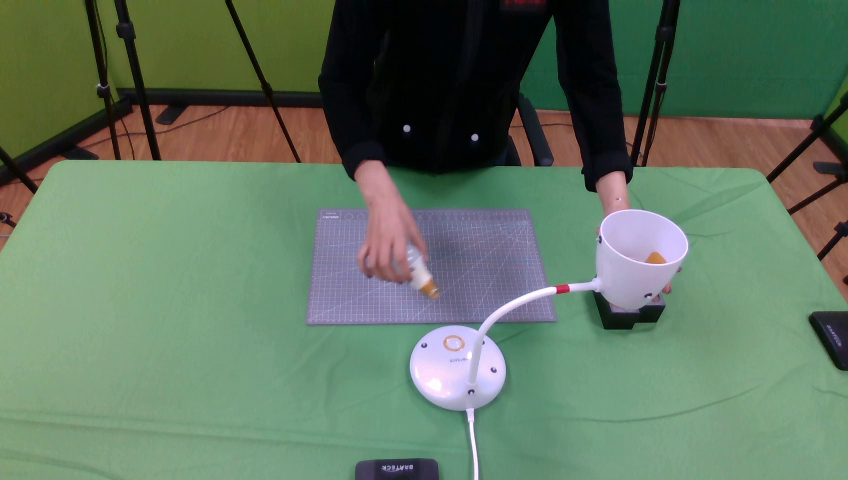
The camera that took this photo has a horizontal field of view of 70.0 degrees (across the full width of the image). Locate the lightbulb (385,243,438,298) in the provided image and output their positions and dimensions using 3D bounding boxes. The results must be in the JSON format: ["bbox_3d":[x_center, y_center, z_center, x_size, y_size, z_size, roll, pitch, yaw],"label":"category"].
[{"bbox_3d":[-0.017,0.052,0.976,0.107,0.059,0.059,48,55,-1],"label":"lightbulb"}]

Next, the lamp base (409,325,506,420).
[{"bbox_3d":[0.064,0.163,0.938,0.161,0.181,0.178,-11,51,-14],"label":"lamp base"}]

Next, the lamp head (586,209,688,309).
[{"bbox_3d":[0.280,0.036,0.824,0.112,0.123,0.111,5,40,-4],"label":"lamp head"}]
